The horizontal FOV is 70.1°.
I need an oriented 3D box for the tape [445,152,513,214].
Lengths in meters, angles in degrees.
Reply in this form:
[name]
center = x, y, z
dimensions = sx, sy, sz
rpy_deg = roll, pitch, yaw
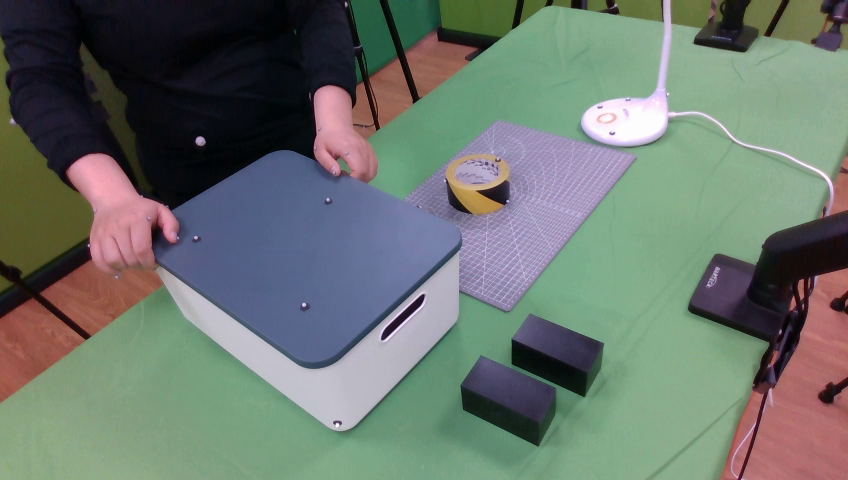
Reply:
[tape]
center = 0.095, -0.099, 1.043
dimensions = 0.117, 0.053, 0.116
rpy_deg = -4, 41, 4

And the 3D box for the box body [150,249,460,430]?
[box body]
center = -0.155, 0.052, 0.817
dimensions = 0.361, 0.161, 0.255
rpy_deg = 26, 51, 31

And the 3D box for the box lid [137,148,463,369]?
[box lid]
center = -0.161, -0.002, 0.766
dimensions = 0.368, 0.015, 0.264
rpy_deg = 26, 51, 31

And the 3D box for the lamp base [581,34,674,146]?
[lamp base]
center = 0.392, -0.291, 1.129
dimensions = 0.180, 0.181, 0.159
rpy_deg = -11, 41, -8
